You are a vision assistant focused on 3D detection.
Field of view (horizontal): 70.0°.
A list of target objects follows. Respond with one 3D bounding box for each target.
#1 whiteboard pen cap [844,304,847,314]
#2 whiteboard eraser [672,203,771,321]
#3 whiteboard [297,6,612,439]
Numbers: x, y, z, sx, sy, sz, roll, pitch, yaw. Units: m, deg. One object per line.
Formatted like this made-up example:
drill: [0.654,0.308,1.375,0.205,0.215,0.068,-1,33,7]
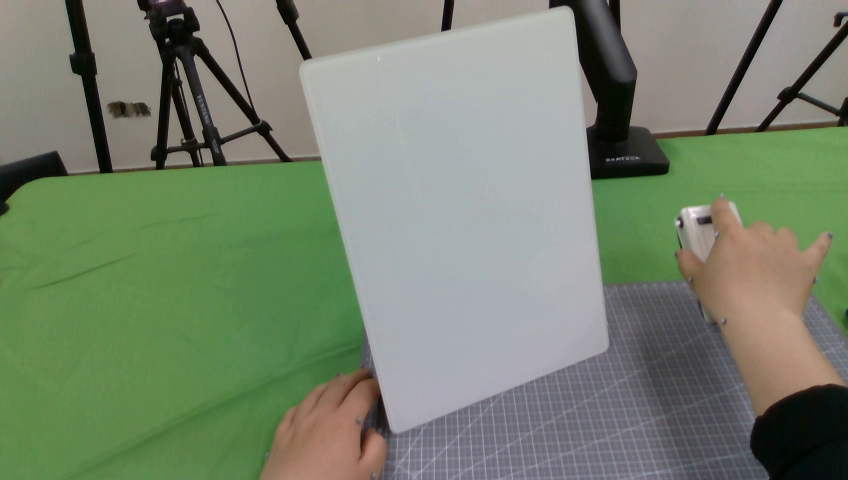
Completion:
whiteboard pen cap: [0.409,0.072,0.562,0.018,0.018,0.033,-5,36,0]
whiteboard eraser: [0.276,0.021,0.569,0.055,0.042,0.111,-9,60,6]
whiteboard: [0.022,-0.023,0.543,0.217,0.307,0.142,-17,19,-15]
